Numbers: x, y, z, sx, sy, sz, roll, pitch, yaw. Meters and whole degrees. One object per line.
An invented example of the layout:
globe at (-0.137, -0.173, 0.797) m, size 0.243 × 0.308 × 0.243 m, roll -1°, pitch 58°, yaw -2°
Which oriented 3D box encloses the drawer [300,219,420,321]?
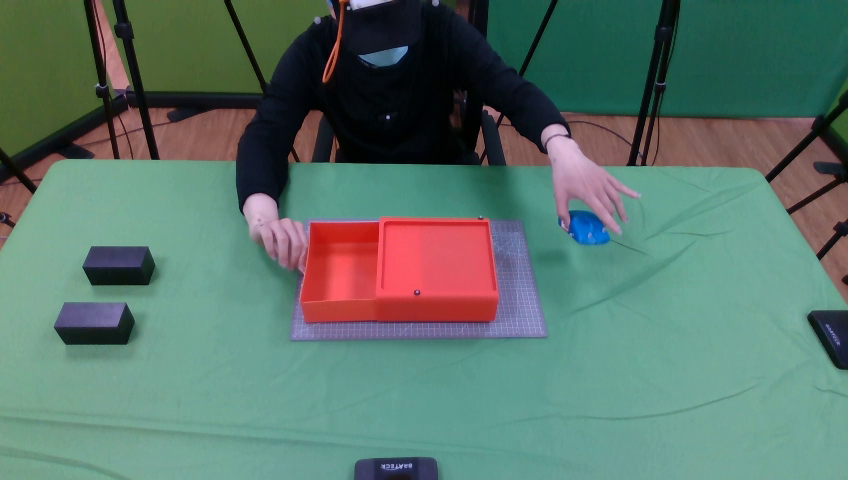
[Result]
drawer at (-0.109, 0.050, 1.096) m, size 0.212 × 0.073 × 0.193 m, roll -1°, pitch 46°, yaw -2°

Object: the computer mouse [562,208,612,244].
computer mouse at (0.305, -0.028, 1.137) m, size 0.063 × 0.041 × 0.116 m, roll 0°, pitch 27°, yaw -10°

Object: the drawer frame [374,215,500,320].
drawer frame at (0.020, 0.048, 1.100) m, size 0.214 × 0.083 × 0.200 m, roll 0°, pitch 46°, yaw -2°
